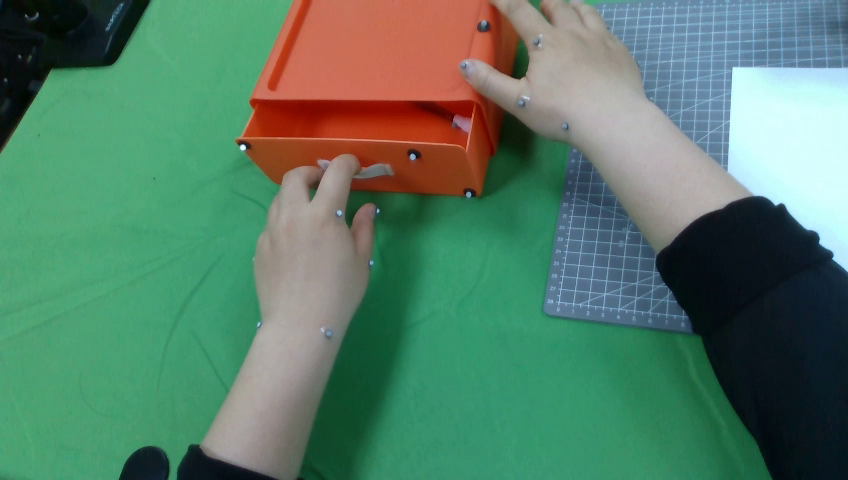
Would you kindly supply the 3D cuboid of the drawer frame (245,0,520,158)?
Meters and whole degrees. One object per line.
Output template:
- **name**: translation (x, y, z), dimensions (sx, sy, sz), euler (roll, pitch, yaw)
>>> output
- **drawer frame**: translation (-0.026, -0.181, 0.537), dimensions (0.201, 0.083, 0.212), euler (4, 64, 19)

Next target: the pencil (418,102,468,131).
- **pencil**: translation (-0.022, -0.138, 0.549), dimensions (0.012, 0.012, 0.192), euler (-46, 55, -10)

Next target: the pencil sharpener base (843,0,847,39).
- **pencil sharpener base**: translation (0.337, -0.194, 0.412), dimensions (0.076, 0.108, 0.061), euler (7, 65, 21)

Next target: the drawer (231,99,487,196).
- **drawer**: translation (-0.034, -0.145, 0.521), dimensions (0.193, 0.074, 0.210), euler (5, 64, 20)
